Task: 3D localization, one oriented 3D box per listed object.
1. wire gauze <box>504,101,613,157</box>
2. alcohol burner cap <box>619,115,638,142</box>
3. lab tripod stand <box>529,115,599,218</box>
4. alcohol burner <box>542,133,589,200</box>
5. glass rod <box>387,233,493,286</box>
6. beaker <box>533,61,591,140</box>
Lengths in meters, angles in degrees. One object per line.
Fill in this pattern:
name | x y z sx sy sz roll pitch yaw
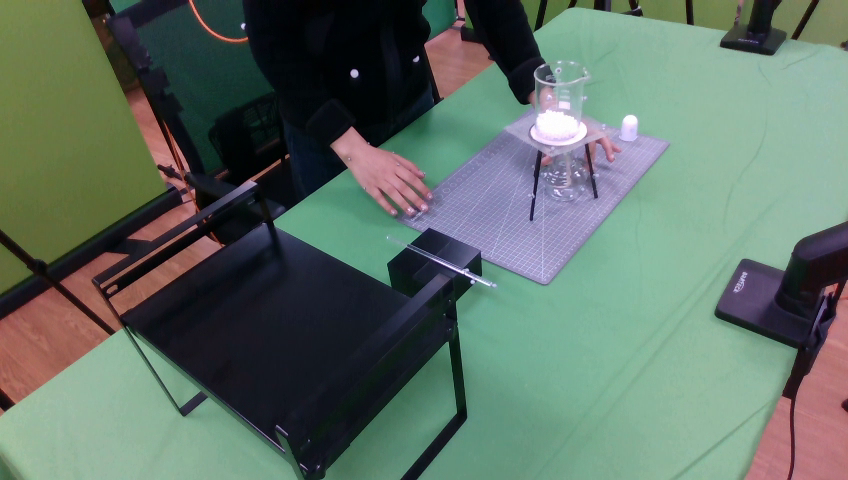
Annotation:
wire gauze | 0.211 -0.175 0.956 0.125 0.011 0.120 -26 43 -17
alcohol burner cap | 0.389 -0.214 1.145 0.034 0.048 0.033 -3 40 3
lab tripod stand | 0.218 -0.123 0.995 0.148 0.132 0.147 -4 42 4
alcohol burner | 0.236 -0.126 1.011 0.078 0.119 0.077 -5 42 5
glass rod | 0.018 0.027 0.878 0.198 0.008 0.008 25 50 33
beaker | 0.208 -0.210 0.922 0.083 0.101 0.074 5 44 14
